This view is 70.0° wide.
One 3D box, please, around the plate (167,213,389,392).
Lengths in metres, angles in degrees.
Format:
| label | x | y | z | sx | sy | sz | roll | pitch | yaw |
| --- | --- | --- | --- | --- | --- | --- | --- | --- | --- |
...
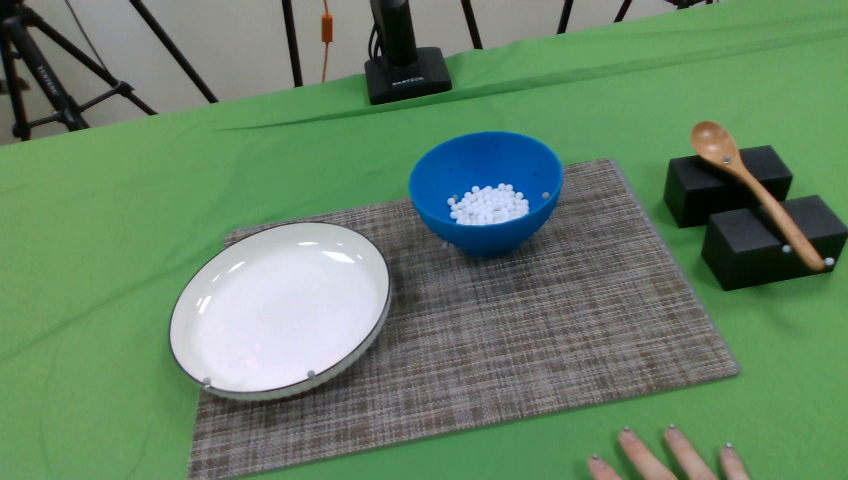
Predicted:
| label | x | y | z | sx | sy | sz | roll | pitch | yaw |
| --- | --- | --- | --- | --- | --- | --- | --- | --- | --- |
| plate | -0.134 | 0.058 | 0.576 | 0.207 | 0.039 | 0.205 | -6 | 45 | 6 |

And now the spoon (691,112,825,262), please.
| label | x | y | z | sx | sy | sz | roll | pitch | yaw |
| --- | --- | --- | --- | --- | --- | --- | --- | --- | --- |
| spoon | 0.298 | -0.054 | 0.547 | 0.041 | 0.022 | 0.191 | -13 | 46 | -1 |

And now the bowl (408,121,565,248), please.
| label | x | y | z | sx | sy | sz | roll | pitch | yaw |
| --- | --- | --- | --- | --- | --- | --- | --- | --- | --- |
| bowl | 0.064 | -0.045 | 0.609 | 0.151 | 0.077 | 0.150 | -6 | 44 | 6 |
